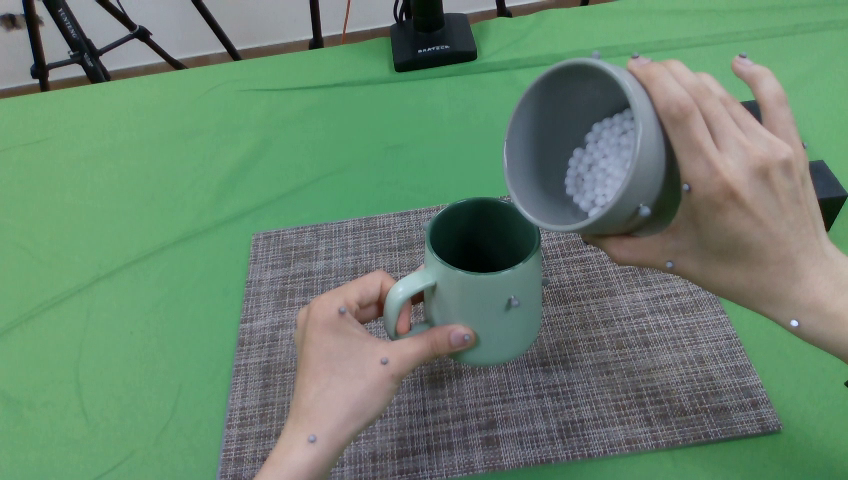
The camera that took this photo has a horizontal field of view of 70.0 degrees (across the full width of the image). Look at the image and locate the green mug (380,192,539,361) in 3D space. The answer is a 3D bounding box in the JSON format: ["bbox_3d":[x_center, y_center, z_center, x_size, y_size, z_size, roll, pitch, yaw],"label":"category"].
[{"bbox_3d":[0.026,0.035,0.445,0.125,0.106,0.091,-24,49,-18],"label":"green mug"}]

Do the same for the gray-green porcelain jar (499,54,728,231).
[{"bbox_3d":[0.131,-0.059,0.407,0.127,0.106,0.104,1,38,-39],"label":"gray-green porcelain jar"}]
